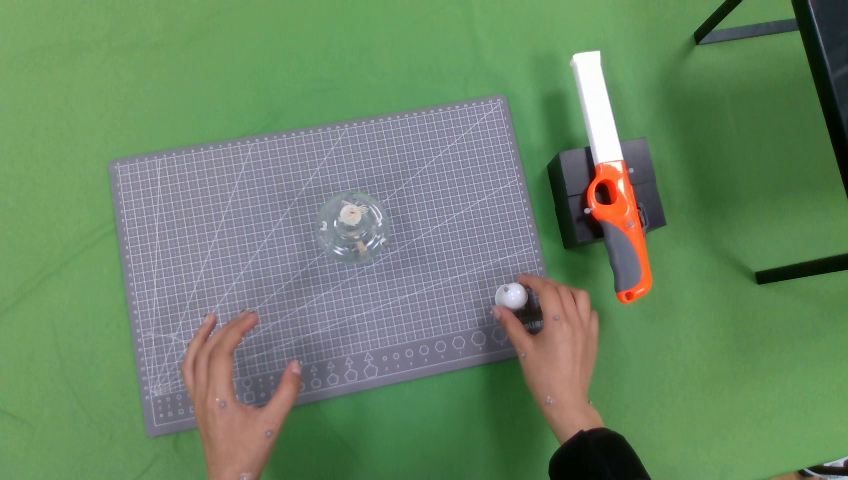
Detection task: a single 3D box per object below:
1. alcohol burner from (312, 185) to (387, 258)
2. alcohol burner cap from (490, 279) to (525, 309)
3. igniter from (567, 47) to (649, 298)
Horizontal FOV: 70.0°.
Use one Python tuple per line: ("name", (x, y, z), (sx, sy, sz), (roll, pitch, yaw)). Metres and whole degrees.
("alcohol burner", (-0.076, -0.022, 0.617), (0.078, 0.119, 0.077), (1, 81, -6))
("alcohol burner cap", (0.092, 0.058, 0.656), (0.034, 0.048, 0.033), (1, 82, -7))
("igniter", (0.195, -0.076, 0.646), (0.057, 0.025, 0.275), (-8, 80, -5))
